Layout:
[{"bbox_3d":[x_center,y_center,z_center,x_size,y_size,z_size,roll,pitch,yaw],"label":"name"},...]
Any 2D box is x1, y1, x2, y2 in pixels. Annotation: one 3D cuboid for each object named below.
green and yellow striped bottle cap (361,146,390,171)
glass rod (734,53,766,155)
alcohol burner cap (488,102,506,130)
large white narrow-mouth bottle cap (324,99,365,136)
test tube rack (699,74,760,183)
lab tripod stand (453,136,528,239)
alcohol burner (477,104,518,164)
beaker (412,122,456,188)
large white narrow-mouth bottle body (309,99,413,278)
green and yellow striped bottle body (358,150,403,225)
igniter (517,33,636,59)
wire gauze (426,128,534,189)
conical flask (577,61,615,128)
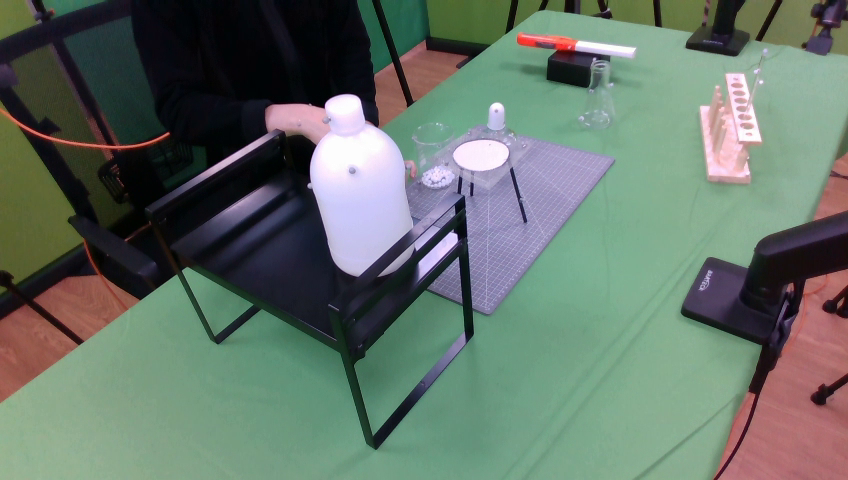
[{"bbox_3d":[-0.078,-0.132,0.976,0.045,0.020,0.045,-4,42,4],"label":"green and yellow striped bottle cap"},{"bbox_3d":[0.540,-0.220,1.006,0.008,0.201,0.008,-5,45,6],"label":"glass rod"},{"bbox_3d":[0.133,-0.227,1.092,0.034,0.048,0.033,-1,47,2],"label":"alcohol burner cap"},{"bbox_3d":[-0.076,-0.119,0.585,0.038,0.024,0.037,-3,42,3],"label":"large white narrow-mouth bottle cap"},{"bbox_3d":[0.547,-0.208,1.095,0.066,0.085,0.242,6,42,16],"label":"test tube rack"},{"bbox_3d":[0.094,-0.086,0.974,0.148,0.132,0.147,-4,43,4],"label":"lab tripod stand"},{"bbox_3d":[0.135,-0.200,1.117,0.078,0.119,0.077,-4,43,4],"label":"alcohol burner"},{"bbox_3d":[0.022,-0.152,1.088,0.073,0.100,0.084,13,44,21],"label":"beaker"},{"bbox_3d":[-0.068,-0.057,0.644,0.102,0.195,0.101,-3,42,4],"label":"large white narrow-mouth bottle body"},{"bbox_3d":[-0.073,-0.090,1.012,0.063,0.120,0.063,-4,41,4],"label":"green and yellow striped bottle body"},{"bbox_3d":[0.336,-0.441,1.369,0.275,0.025,0.057,16,41,23],"label":"igniter"},{"bbox_3d":[0.086,-0.131,0.924,0.124,0.011,0.122,26,52,33],"label":"wire gauze"},{"bbox_3d":[0.343,-0.288,1.188,0.075,0.122,0.075,-4,41,4],"label":"conical flask"}]
